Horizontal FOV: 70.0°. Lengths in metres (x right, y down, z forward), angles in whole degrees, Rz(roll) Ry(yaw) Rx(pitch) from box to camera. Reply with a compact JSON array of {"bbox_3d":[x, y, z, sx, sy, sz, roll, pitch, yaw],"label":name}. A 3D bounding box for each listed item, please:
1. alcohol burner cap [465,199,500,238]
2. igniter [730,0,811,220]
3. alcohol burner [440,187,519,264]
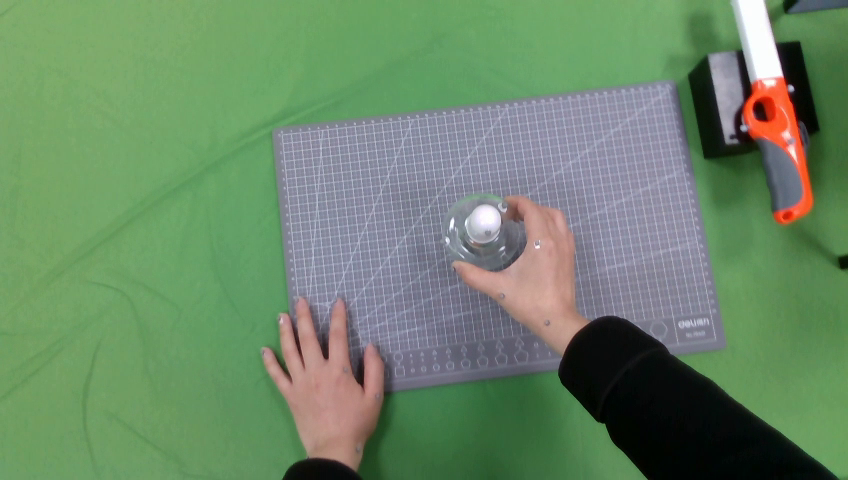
[{"bbox_3d":[0.054,-0.021,0.547,0.034,0.048,0.034,0,83,2],"label":"alcohol burner cap"},{"bbox_3d":[0.346,-0.156,0.615,0.057,0.025,0.275,-6,80,1],"label":"igniter"},{"bbox_3d":[0.053,-0.017,0.577,0.078,0.119,0.077,0,82,3],"label":"alcohol burner"}]
